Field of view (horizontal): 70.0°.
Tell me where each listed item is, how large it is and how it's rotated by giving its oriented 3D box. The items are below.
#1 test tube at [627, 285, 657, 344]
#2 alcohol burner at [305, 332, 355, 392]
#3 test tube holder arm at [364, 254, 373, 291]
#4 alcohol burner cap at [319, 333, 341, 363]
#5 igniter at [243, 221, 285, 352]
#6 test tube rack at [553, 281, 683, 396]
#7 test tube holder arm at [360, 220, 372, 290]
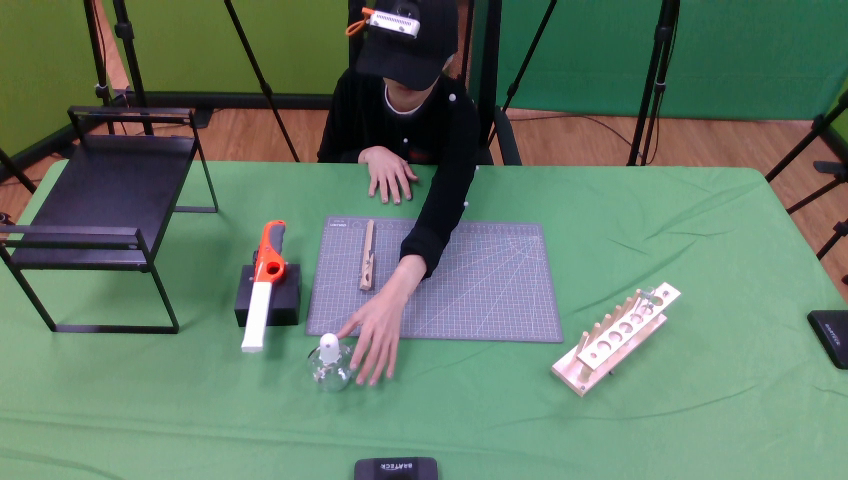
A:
[{"bbox_3d":[0.349,0.124,0.983,0.017,0.151,0.017,0,49,0],"label":"test tube"},{"bbox_3d":[-0.147,0.184,0.943,0.078,0.119,0.077,3,44,-2],"label":"alcohol burner"},{"bbox_3d":[-0.104,0.058,1.132,0.010,0.015,0.087,28,38,-27],"label":"test tube holder arm"},{"bbox_3d":[-0.144,0.162,0.921,0.034,0.048,0.033,1,45,-1],"label":"alcohol burner cap"},{"bbox_3d":[-0.273,0.069,1.041,0.057,0.025,0.274,2,48,-5],"label":"igniter"},{"bbox_3d":[0.329,0.153,1.023,0.242,0.085,0.066,-30,54,-28],"label":"test tube rack"},{"bbox_3d":[-0.110,0.024,1.161,0.013,0.015,0.177,27,38,-27],"label":"test tube holder arm"}]
